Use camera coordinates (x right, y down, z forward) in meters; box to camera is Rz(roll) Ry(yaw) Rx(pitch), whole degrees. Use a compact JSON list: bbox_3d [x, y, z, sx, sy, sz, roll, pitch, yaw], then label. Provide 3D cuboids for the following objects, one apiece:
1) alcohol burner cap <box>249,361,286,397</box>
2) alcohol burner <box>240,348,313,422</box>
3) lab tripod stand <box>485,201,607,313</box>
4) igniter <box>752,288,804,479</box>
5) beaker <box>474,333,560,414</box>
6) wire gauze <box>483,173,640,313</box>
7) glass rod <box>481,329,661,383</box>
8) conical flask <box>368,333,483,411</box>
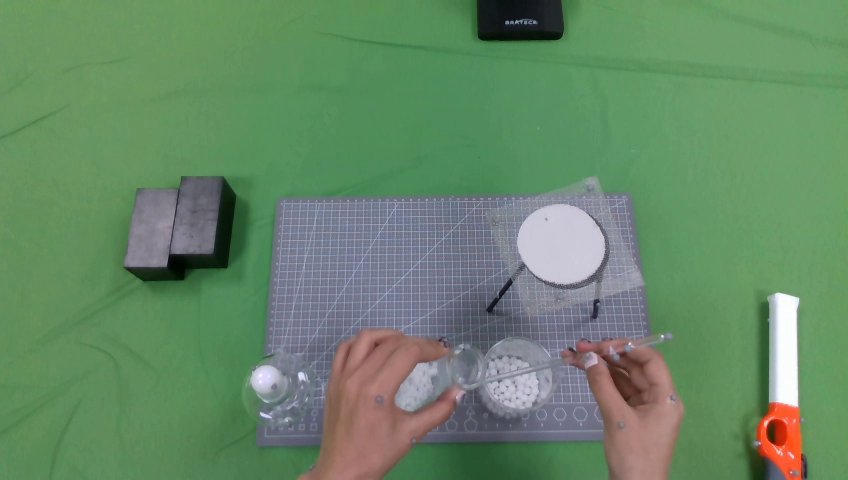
[{"bbox_3d":[-0.156,0.135,0.599,0.034,0.048,0.033,2,67,-4],"label":"alcohol burner cap"},{"bbox_3d":[-0.157,0.149,0.632,0.078,0.120,0.077,1,71,-1],"label":"alcohol burner"},{"bbox_3d":[0.137,0.027,0.667,0.148,0.132,0.147,0,71,1],"label":"lab tripod stand"},{"bbox_3d":[0.389,0.187,0.667,0.057,0.025,0.275,14,70,-6],"label":"igniter"},{"bbox_3d":[0.094,0.145,0.642,0.084,0.101,0.073,-3,70,-1],"label":"beaker"},{"bbox_3d":[0.136,0.002,0.604,0.125,0.011,0.120,-17,72,-5],"label":"wire gauze"},{"bbox_3d":[0.124,0.109,0.551,0.008,0.199,0.008,22,55,-36],"label":"glass rod"},{"bbox_3d":[0.005,0.116,0.550,0.076,0.121,0.075,9,72,-29],"label":"conical flask"}]
